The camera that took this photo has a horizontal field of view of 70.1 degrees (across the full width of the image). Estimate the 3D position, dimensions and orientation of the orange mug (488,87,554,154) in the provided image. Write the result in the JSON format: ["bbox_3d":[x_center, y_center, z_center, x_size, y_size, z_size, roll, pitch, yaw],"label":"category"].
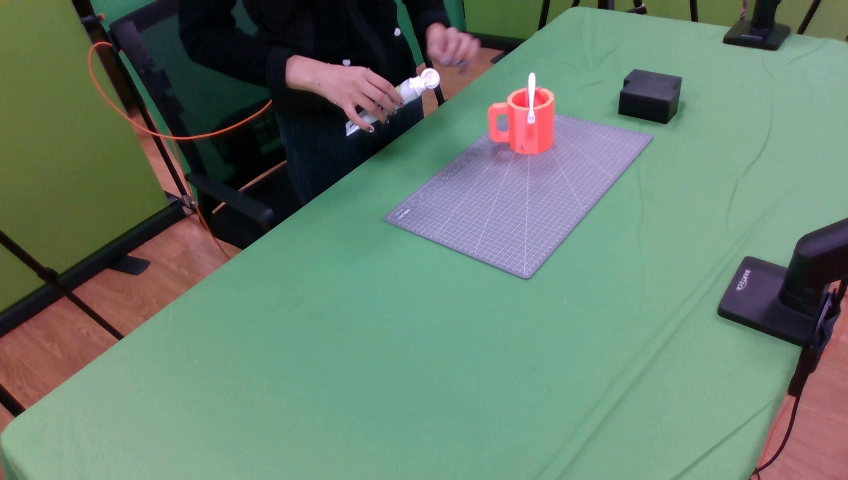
[{"bbox_3d":[0.185,-0.227,1.151,0.126,0.101,0.083,1,41,5],"label":"orange mug"}]

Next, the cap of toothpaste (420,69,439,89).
[{"bbox_3d":[0.010,-0.283,1.060,0.037,0.037,0.011,-21,6,-13],"label":"cap of toothpaste"}]

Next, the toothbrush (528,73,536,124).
[{"bbox_3d":[0.198,-0.267,1.114,0.014,0.017,0.181,-5,40,14],"label":"toothbrush"}]

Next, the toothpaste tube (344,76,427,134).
[{"bbox_3d":[-0.068,-0.237,1.052,0.165,0.035,0.054,-29,30,8],"label":"toothpaste tube"}]
